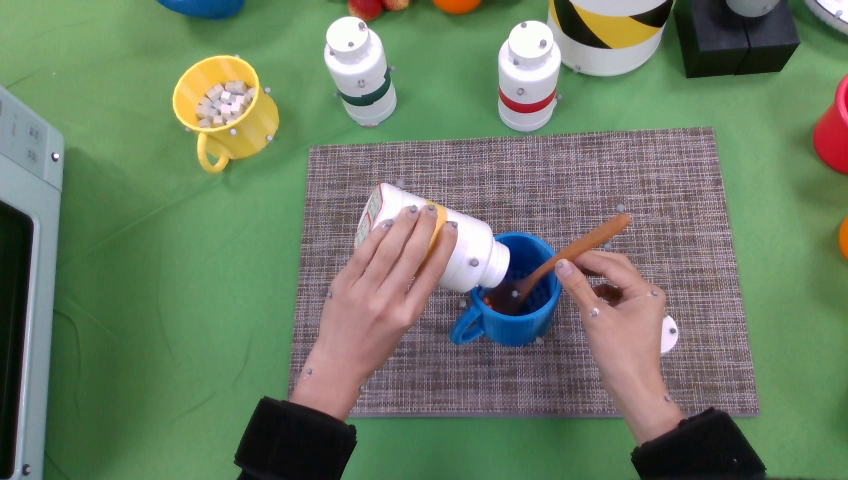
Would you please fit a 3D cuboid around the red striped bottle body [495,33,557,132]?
[{"bbox_3d":[0.107,-0.171,0.639,0.063,0.120,0.062,-3,69,8],"label":"red striped bottle body"}]

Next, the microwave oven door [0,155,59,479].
[{"bbox_3d":[-0.424,0.067,0.529,0.039,0.245,0.353,-11,69,3],"label":"microwave oven door"}]

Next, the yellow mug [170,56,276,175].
[{"bbox_3d":[-0.233,-0.137,0.695,0.100,0.064,0.130,8,72,9],"label":"yellow mug"}]

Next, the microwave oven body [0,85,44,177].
[{"bbox_3d":[-0.573,0.056,0.555,0.326,0.262,0.438,-11,70,2],"label":"microwave oven body"}]

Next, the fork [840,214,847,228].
[{"bbox_3d":[0.462,0.008,0.517,0.028,0.019,0.205,-39,26,-7],"label":"fork"}]

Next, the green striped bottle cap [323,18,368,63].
[{"bbox_3d":[-0.080,-0.203,0.617,0.044,0.020,0.044,-2,68,6],"label":"green striped bottle cap"}]

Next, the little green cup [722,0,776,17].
[{"bbox_3d":[0.346,-0.267,0.635,0.061,0.039,0.061,-1,68,4],"label":"little green cup"}]

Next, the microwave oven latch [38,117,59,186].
[{"bbox_3d":[-0.443,-0.100,0.700,0.030,0.030,0.078,-9,70,3],"label":"microwave oven latch"}]

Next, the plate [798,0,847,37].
[{"bbox_3d":[0.516,-0.303,0.684,0.209,0.038,0.207,-2,70,6],"label":"plate"}]

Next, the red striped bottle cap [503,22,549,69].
[{"bbox_3d":[0.100,-0.190,0.590,0.044,0.018,0.044,-1,68,2],"label":"red striped bottle cap"}]

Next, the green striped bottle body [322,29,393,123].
[{"bbox_3d":[-0.073,-0.185,0.665,0.063,0.120,0.063,-2,69,5],"label":"green striped bottle body"}]

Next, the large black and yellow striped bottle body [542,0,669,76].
[{"bbox_3d":[0.195,-0.276,0.633,0.130,0.185,0.130,-2,70,6],"label":"large black and yellow striped bottle body"}]

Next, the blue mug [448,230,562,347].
[{"bbox_3d":[0.069,0.058,0.563,0.116,0.106,0.081,-37,69,-8],"label":"blue mug"}]

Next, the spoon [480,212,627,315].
[{"bbox_3d":[0.103,0.028,0.522,0.022,0.194,0.041,10,58,-24],"label":"spoon"}]

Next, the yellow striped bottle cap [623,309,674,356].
[{"bbox_3d":[0.216,0.089,0.584,0.044,0.019,0.044,-2,70,6],"label":"yellow striped bottle cap"}]

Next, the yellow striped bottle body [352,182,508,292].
[{"bbox_3d":[0.008,0.003,0.489,0.121,0.063,0.062,20,71,-18],"label":"yellow striped bottle body"}]

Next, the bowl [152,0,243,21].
[{"bbox_3d":[-0.277,-0.334,0.765,0.151,0.077,0.150,-2,70,6],"label":"bowl"}]
